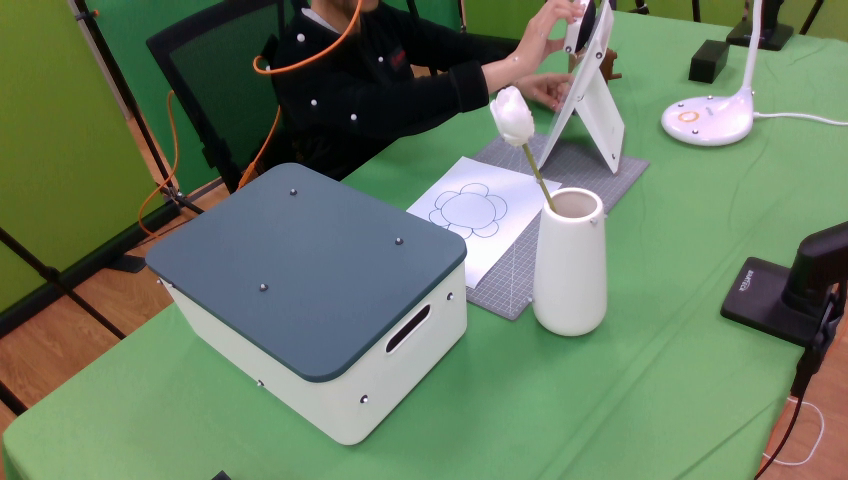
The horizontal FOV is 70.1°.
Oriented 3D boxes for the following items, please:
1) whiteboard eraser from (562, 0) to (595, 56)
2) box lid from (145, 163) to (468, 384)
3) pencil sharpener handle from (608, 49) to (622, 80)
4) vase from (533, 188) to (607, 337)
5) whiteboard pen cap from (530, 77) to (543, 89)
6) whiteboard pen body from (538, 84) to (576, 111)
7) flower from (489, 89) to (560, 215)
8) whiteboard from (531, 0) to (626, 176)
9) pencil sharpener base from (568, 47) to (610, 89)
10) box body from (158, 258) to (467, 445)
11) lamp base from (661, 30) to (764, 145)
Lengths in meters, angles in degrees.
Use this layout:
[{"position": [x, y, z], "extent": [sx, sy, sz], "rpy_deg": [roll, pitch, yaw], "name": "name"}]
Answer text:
[{"position": [0.269, -0.369, 1.046], "extent": [0.042, 0.056, 0.112], "rpy_deg": [18, 48, 9], "name": "whiteboard eraser"}, {"position": [-0.157, 0.014, 0.769], "extent": [0.368, 0.015, 0.264], "rpy_deg": [25, 51, 33], "name": "box lid"}, {"position": [0.394, -0.367, 1.253], "extent": [0.030, 0.068, 0.036], "rpy_deg": [-8, 32, 1], "name": "pencil sharpener handle"}, {"position": [0.187, 0.033, 0.771], "extent": [0.098, 0.201, 0.097], "rpy_deg": [-6, 41, 6], "name": "vase"}, {"position": [0.248, -0.343, 1.328], "extent": [0.018, 0.018, 0.033], "rpy_deg": [-24, 47, -17], "name": "whiteboard pen cap"}, {"position": [0.280, -0.309, 1.290], "extent": [0.017, 0.017, 0.139], "rpy_deg": [-24, 46, -17], "name": "whiteboard pen body"}, {"position": [0.159, -0.028, 0.720], "extent": [0.038, 0.364, 0.044], "rpy_deg": [-14, 44, 23], "name": "flower"}, {"position": [0.320, -0.258, 1.050], "extent": [0.144, 0.306, 0.217], "rpy_deg": [22, 45, 5], "name": "whiteboard"}, {"position": [0.345, -0.352, 1.263], "extent": [0.077, 0.107, 0.061], "rpy_deg": [-8, 40, 1], "name": "pencil sharpener base"}, {"position": [-0.147, 0.072, 0.816], "extent": [0.361, 0.161, 0.255], "rpy_deg": [24, 50, 33], "name": "box body"}, {"position": [0.535, -0.287, 1.096], "extent": [0.179, 0.181, 0.159], "rpy_deg": [-10, 40, -4], "name": "lamp base"}]
